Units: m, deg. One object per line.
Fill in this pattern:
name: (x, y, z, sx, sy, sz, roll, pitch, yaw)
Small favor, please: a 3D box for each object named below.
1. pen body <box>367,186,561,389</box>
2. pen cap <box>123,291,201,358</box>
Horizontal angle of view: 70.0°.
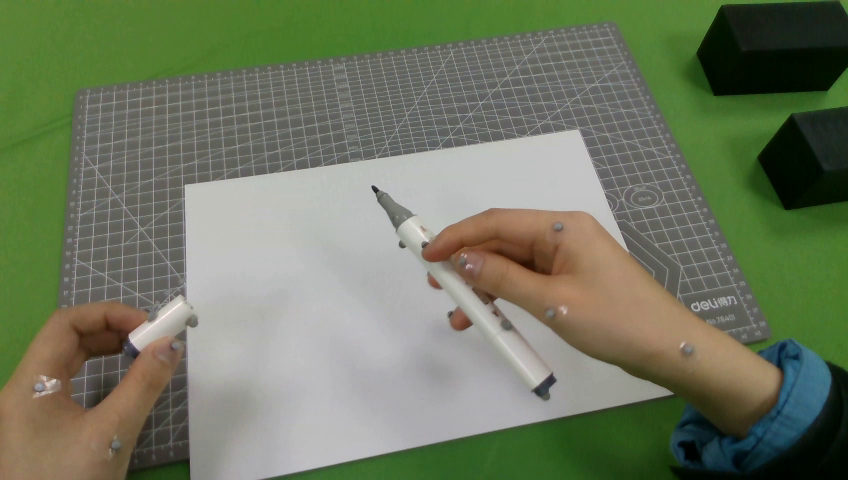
pen body: (0.017, 0.021, 0.323, 0.017, 0.017, 0.143, -39, 76, -20)
pen cap: (-0.135, 0.044, 0.313, 0.038, 0.017, 0.017, -39, 69, -14)
